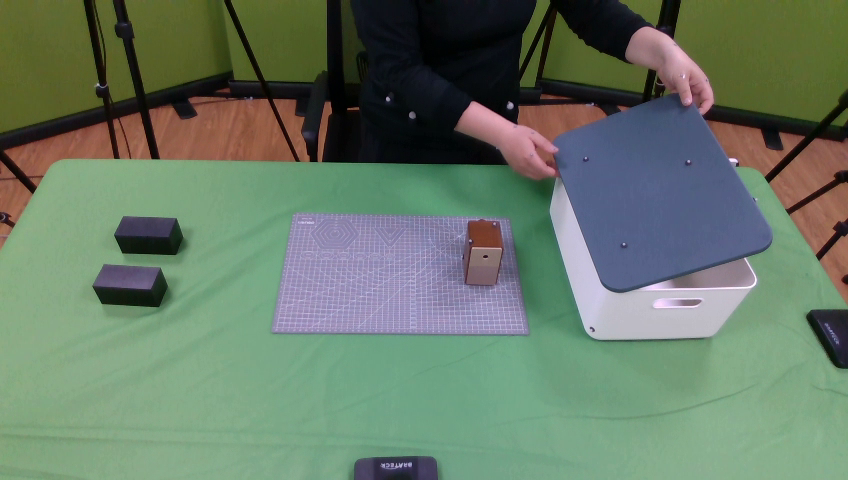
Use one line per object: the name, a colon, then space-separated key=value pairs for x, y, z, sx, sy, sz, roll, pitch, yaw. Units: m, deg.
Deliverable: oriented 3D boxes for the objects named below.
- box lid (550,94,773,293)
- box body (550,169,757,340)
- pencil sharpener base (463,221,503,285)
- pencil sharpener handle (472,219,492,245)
box lid: x=0.381 y=-0.091 z=1.027 sx=0.263 sy=0.015 sz=0.369 roll=-19 pitch=50 yaw=11
box body: x=0.395 y=0.003 z=1.127 sx=0.254 sy=0.161 sz=0.361 roll=-1 pitch=46 yaw=-5
pencil sharpener base: x=0.107 y=0.023 z=1.119 sx=0.061 sy=0.107 sz=0.076 roll=1 pitch=45 yaw=-2
pencil sharpener handle: x=0.104 y=-0.021 z=1.145 sx=0.036 sy=0.068 sz=0.030 roll=8 pitch=44 yaw=-10
